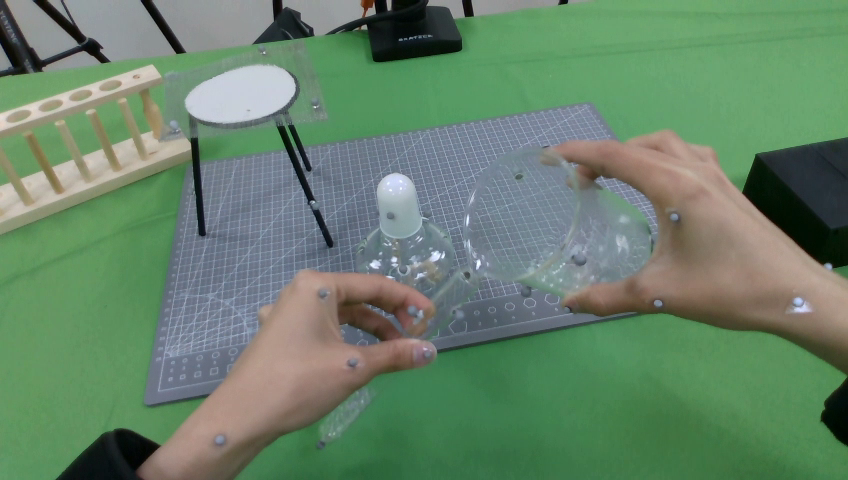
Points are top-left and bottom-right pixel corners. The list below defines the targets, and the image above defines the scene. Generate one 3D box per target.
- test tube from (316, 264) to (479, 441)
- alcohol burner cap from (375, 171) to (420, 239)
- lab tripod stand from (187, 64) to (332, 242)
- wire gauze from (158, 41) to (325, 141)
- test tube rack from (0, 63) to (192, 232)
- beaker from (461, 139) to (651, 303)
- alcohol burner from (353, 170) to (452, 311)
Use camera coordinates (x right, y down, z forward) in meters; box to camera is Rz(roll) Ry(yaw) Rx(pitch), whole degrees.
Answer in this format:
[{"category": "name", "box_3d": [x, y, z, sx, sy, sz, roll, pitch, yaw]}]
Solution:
[{"category": "test tube", "box_3d": [-0.020, 0.071, 0.360, 0.017, 0.150, 0.017, 35, 21, -15]}, {"category": "alcohol burner cap", "box_3d": [-0.021, -0.028, 0.438, 0.034, 0.048, 0.033, -3, 46, 4]}, {"category": "lab tripod stand", "box_3d": [-0.145, -0.073, 0.532, 0.148, 0.133, 0.147, -3, 46, 3]}, {"category": "wire gauze", "box_3d": [-0.150, -0.120, 0.485, 0.125, 0.011, 0.120, -14, 45, -8]}, {"category": "test tube rack", "box_3d": [-0.369, -0.088, 0.607, 0.242, 0.086, 0.066, -27, 48, -21]}, {"category": "beaker", "box_3d": [0.079, -0.003, 0.354, 0.101, 0.084, 0.073, 19, 26, -44]}, {"category": "alcohol burner", "box_3d": [-0.017, -0.002, 0.463, 0.078, 0.120, 0.077, -2, 42, 3]}]
